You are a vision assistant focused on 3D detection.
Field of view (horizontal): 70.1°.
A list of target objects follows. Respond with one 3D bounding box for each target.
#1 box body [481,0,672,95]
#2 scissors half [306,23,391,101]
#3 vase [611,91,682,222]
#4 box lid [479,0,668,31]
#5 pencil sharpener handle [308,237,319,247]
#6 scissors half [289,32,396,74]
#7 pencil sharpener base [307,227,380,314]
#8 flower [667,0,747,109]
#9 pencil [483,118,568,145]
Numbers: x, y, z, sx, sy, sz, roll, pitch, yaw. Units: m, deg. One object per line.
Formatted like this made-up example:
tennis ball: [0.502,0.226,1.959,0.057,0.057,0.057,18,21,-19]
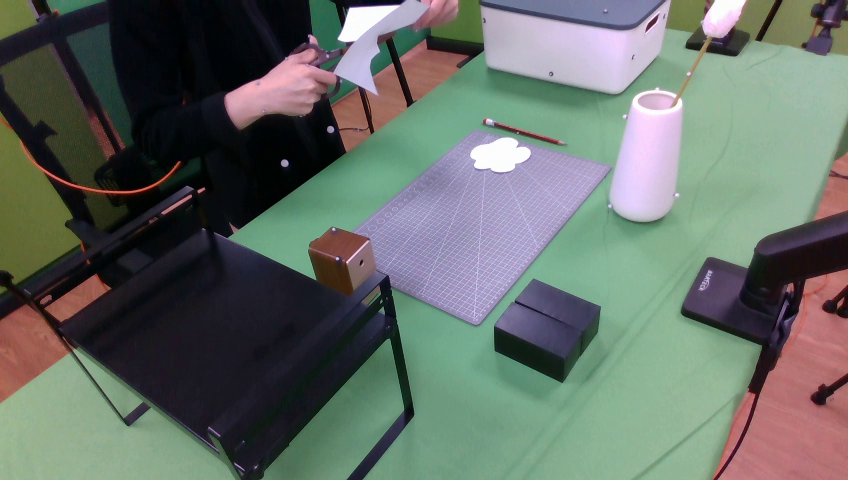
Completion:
box body: [0.341,-0.480,1.381,0.361,0.161,0.255,22,48,30]
scissors half: [-0.113,-0.268,0.913,0.174,0.040,0.013,-37,18,26]
vase: [0.348,-0.125,0.935,0.098,0.201,0.097,-3,40,3]
box lid: [0.335,-0.536,1.331,0.368,0.015,0.264,23,49,30]
pencil sharpener handle: [-0.159,0.017,0.892,0.030,0.068,0.036,18,61,28]
scissors half: [-0.124,-0.286,0.904,0.175,0.040,0.013,-10,33,13]
pencil sharpener base: [-0.116,0.043,0.875,0.076,0.107,0.061,18,47,27]
flower: [0.354,-0.187,0.879,0.038,0.362,0.044,30,48,14]
pencil: [0.201,-0.217,1.211,0.192,0.012,0.012,24,49,29]
